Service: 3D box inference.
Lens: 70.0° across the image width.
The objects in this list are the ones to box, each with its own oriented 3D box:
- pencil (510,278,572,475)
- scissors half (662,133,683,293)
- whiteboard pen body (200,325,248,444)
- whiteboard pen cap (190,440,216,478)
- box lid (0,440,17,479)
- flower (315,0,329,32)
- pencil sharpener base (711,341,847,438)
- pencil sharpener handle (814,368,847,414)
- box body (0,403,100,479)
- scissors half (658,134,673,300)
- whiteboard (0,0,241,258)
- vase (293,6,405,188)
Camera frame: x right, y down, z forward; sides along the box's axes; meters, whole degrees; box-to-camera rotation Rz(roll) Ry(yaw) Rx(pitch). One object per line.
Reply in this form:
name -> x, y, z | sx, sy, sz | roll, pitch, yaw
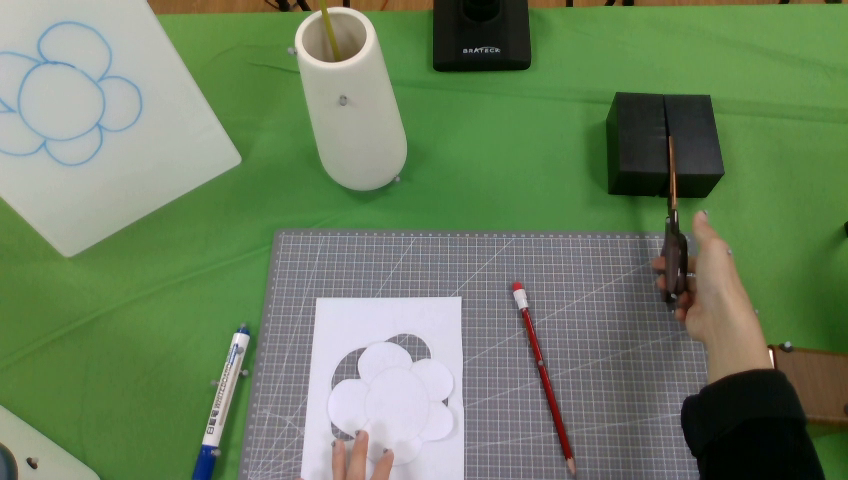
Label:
pencil -> 0.113, 0.127, 0.586 | 0.012, 0.012, 0.192 | -12, 68, -3
scissors half -> 0.243, -0.032, 0.598 | 0.013, 0.040, 0.174 | 4, 65, 7
whiteboard pen body -> -0.195, 0.149, 0.584 | 0.017, 0.017, 0.140 | 7, 65, 6
whiteboard pen cap -> -0.202, 0.202, 0.559 | 0.018, 0.018, 0.033 | 6, 62, 5
box lid -> -0.499, 0.182, 0.420 | 0.370, 0.015, 0.262 | 26, 69, 13
flower -> -0.085, -0.182, 0.537 | 0.044, 0.365, 0.038 | -6, 48, 3
pencil sharpener base -> 0.310, 0.132, 0.524 | 0.077, 0.108, 0.061 | 5, 65, 1
pencil sharpener handle -> 0.361, 0.133, 0.512 | 0.030, 0.068, 0.035 | 5, 61, 1
box body -> -0.494, 0.214, 0.488 | 0.362, 0.161, 0.253 | 26, 70, 13
scissors half -> 0.247, -0.026, 0.617 | 0.013, 0.040, 0.174 | 3, 81, 12
whiteboard -> -0.367, -0.172, 0.609 | 0.217, 0.309, 0.142 | -31, 49, -11
vase -> -0.074, -0.135, 0.607 | 0.098, 0.201, 0.097 | -1, 65, 3
